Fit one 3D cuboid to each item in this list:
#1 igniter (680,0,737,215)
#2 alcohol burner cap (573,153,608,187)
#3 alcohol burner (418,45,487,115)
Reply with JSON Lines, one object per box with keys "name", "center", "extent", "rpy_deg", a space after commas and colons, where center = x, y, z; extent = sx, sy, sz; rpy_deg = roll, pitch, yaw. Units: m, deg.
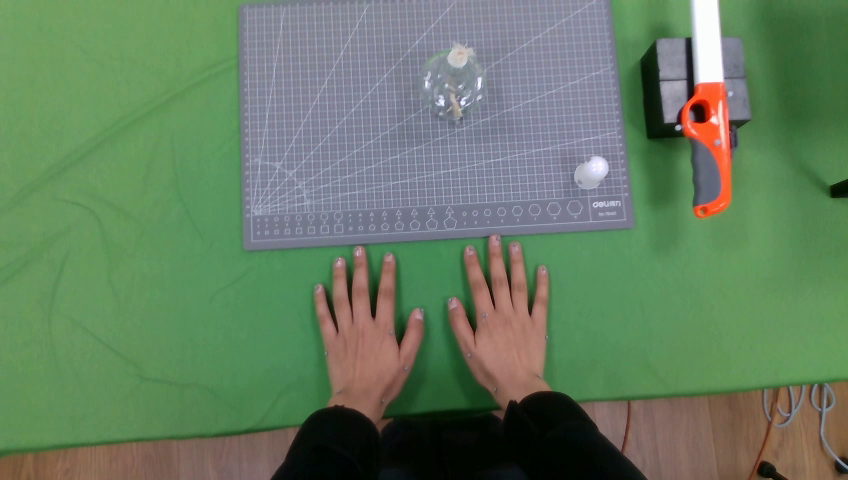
{"name": "igniter", "center": [0.312, -0.163, 0.670], "extent": [0.057, 0.025, 0.275], "rpy_deg": [0, 81, 10]}
{"name": "alcohol burner cap", "center": [0.192, -0.082, 0.691], "extent": [0.034, 0.048, 0.033], "rpy_deg": [0, 81, -1]}
{"name": "alcohol burner", "center": [0.033, -0.183, 0.665], "extent": [0.078, 0.119, 0.077], "rpy_deg": [1, 81, -3]}
